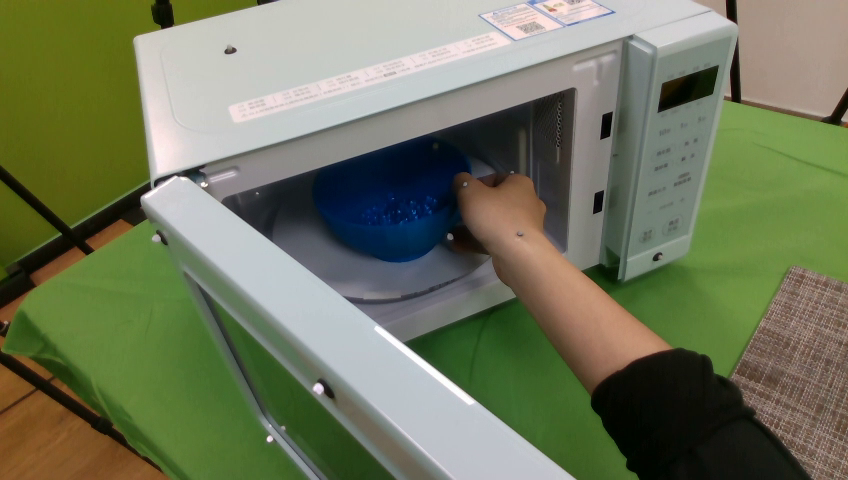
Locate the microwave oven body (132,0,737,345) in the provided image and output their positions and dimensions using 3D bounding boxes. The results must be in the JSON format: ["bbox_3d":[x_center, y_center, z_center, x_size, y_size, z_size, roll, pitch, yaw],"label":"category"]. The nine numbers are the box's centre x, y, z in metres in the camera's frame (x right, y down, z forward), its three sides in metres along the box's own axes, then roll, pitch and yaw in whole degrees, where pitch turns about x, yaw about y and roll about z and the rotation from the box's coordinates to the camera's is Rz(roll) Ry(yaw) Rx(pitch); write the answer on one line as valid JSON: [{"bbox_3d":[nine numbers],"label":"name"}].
[{"bbox_3d":[-0.006,-0.092,0.601,0.442,0.263,0.322,-21,43,-13],"label":"microwave oven body"}]

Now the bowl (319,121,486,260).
[{"bbox_3d":[-0.018,-0.033,0.573,0.151,0.077,0.150,-2,54,2],"label":"bowl"}]

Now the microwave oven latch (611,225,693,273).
[{"bbox_3d":[0.225,0.004,0.600,0.079,0.030,0.030,-20,42,-12],"label":"microwave oven latch"}]

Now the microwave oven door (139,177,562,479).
[{"bbox_3d":[-0.028,0.125,0.344,0.039,0.246,0.352,-36,48,-28],"label":"microwave oven door"}]
